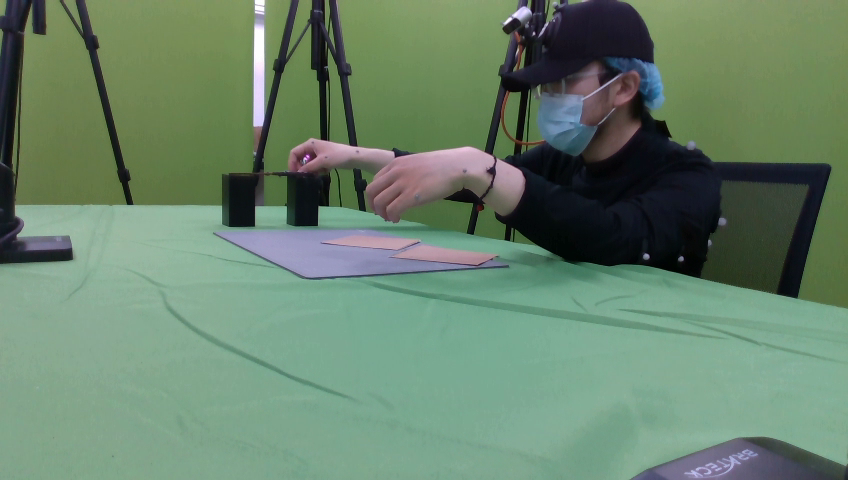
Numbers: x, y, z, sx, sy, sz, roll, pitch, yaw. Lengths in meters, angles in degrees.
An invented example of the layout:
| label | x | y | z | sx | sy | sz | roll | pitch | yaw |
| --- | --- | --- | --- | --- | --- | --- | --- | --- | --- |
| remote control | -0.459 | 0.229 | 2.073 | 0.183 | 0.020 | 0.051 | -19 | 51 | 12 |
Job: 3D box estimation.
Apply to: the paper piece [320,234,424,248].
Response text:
| label | x | y | z | sx | sy | sz | roll | pitch | yaw |
| --- | --- | --- | --- | --- | --- | --- | --- | --- | --- |
| paper piece | -0.084 | 0.000 | 1.017 | 0.135 | 0.004 | 0.136 | 5 | 8 | 17 |

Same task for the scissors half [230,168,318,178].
| label | x | y | z | sx | sy | sz | roll | pitch | yaw |
| --- | --- | --- | --- | --- | --- | --- | --- | --- | --- |
| scissors half | -0.298 | -0.132 | 1.211 | 0.176 | 0.013 | 0.040 | -4 | 22 | -25 |

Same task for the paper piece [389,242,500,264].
| label | x | y | z | sx | sy | sz | roll | pitch | yaw |
| --- | --- | --- | --- | --- | --- | --- | --- | --- | --- |
| paper piece | 0.034 | 0.021 | 0.905 | 0.138 | 0.008 | 0.136 | 5 | 11 | 20 |

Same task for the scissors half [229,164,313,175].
| label | x | y | z | sx | sy | sz | roll | pitch | yaw |
| --- | --- | --- | --- | --- | --- | --- | --- | --- | --- |
| scissors half | -0.308 | -0.140 | 1.225 | 0.176 | 0.013 | 0.040 | -11 | 31 | -38 |
